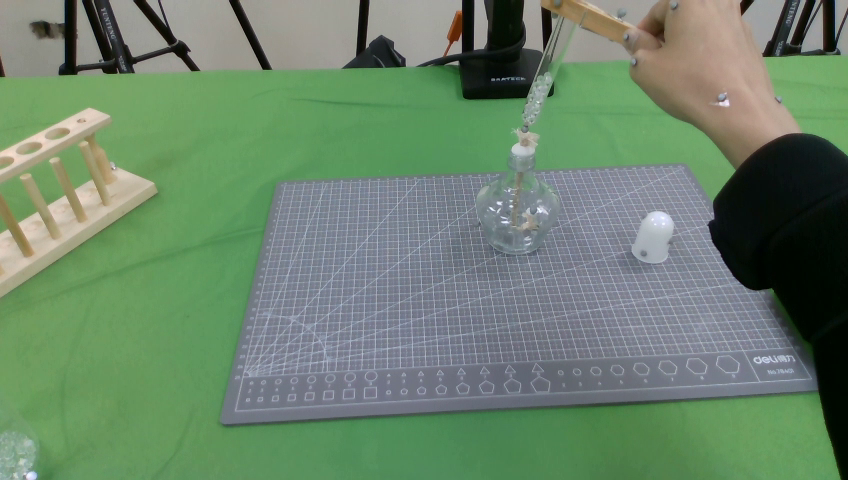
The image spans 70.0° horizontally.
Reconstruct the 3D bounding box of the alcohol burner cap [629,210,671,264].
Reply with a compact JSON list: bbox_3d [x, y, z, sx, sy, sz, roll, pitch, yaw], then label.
[{"bbox_3d":[0.207,-0.004,0.551,0.034,0.048,0.033,-1,41,1],"label":"alcohol burner cap"}]

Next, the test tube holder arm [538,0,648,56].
[{"bbox_3d":[0.122,-0.158,0.438,0.087,0.015,0.010,36,41,21],"label":"test tube holder arm"}]

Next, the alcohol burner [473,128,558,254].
[{"bbox_3d":[0.084,-0.047,0.546,0.078,0.120,0.077,-1,40,1],"label":"alcohol burner"}]

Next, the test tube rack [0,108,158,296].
[{"bbox_3d":[-0.375,-0.024,0.556,0.066,0.086,0.241,22,46,23],"label":"test tube rack"}]

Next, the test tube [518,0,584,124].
[{"bbox_3d":[0.103,-0.157,0.462,0.017,0.151,0.017,12,36,-9],"label":"test tube"}]

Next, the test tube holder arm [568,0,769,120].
[{"bbox_3d":[0.157,-0.134,0.423,0.013,0.015,0.177,-24,54,-40],"label":"test tube holder arm"}]

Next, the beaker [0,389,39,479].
[{"bbox_3d":[-0.302,0.121,0.380,0.084,0.101,0.073,-19,45,-18],"label":"beaker"}]
